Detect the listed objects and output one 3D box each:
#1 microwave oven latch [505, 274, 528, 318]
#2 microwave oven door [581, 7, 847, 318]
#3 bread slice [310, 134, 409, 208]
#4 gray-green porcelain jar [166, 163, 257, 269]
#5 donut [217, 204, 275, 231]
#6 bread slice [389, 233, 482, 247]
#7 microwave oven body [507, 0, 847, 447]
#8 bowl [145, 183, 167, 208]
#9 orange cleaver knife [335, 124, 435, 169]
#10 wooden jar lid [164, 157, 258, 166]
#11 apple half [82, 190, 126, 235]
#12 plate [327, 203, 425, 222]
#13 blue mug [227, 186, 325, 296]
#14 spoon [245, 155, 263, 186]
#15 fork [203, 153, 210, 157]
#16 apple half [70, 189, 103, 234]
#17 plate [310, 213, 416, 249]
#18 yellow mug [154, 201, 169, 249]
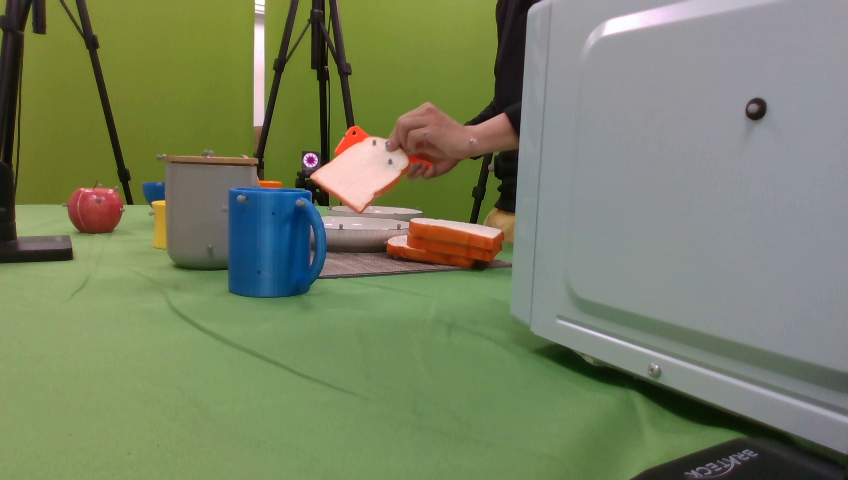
[{"bbox_3d":[0.100,0.041,0.471,0.079,0.029,0.030,-1,8,-28],"label":"microwave oven latch"},{"bbox_3d":[0.295,-0.067,0.569,0.358,0.243,0.039,-3,8,-31],"label":"microwave oven door"},{"bbox_3d":[-0.090,-0.110,0.911,0.106,0.018,0.134,31,57,23],"label":"bread slice"},{"bbox_3d":[-0.263,-0.031,0.754,0.106,0.126,0.106,2,7,0],"label":"gray-green porcelain jar"},{"bbox_3d":[-0.317,-0.038,1.080,0.099,0.048,0.099,3,7,0],"label":"donut"},{"bbox_3d":[0.015,0.001,0.873,0.131,0.019,0.105,-1,-1,2],"label":"bread slice"},{"bbox_3d":[0.331,-0.042,0.425,0.444,0.260,0.324,-2,8,-31],"label":"microwave oven body"},{"bbox_3d":[-0.459,-0.068,1.175,0.151,0.077,0.151,3,7,0],"label":"bowl"},{"bbox_3d":[-0.073,-0.160,1.170,0.212,0.077,0.012,17,4,-33],"label":"orange cleaver knife"},{"bbox_3d":[-0.261,-0.093,0.746,0.108,0.020,0.108,0,9,0],"label":"wooden jar lid"},{"bbox_3d":[-0.516,-0.046,0.994,0.032,0.081,0.081,0,6,26],"label":"apple half"},{"bbox_3d":[-0.102,-0.053,1.299,0.209,0.038,0.209,2,8,0],"label":"plate"},{"bbox_3d":[-0.146,0.000,0.618,0.116,0.106,0.083,7,9,32],"label":"blue mug"},{"bbox_3d":[-0.421,-0.150,1.540,0.042,0.021,0.193,-5,55,-37],"label":"spoon"},{"bbox_3d":[-0.480,-0.135,1.411,0.028,0.018,0.207,1,-34,-1],"label":"fork"},{"bbox_3d":[-0.552,-0.048,1.010,0.053,0.074,0.081,-1,9,26],"label":"apple half"},{"bbox_3d":[-0.116,-0.014,0.967,0.208,0.039,0.207,2,7,0],"label":"plate"},{"bbox_3d":[-0.338,-0.022,0.899,0.130,0.064,0.100,8,9,35],"label":"yellow mug"}]
